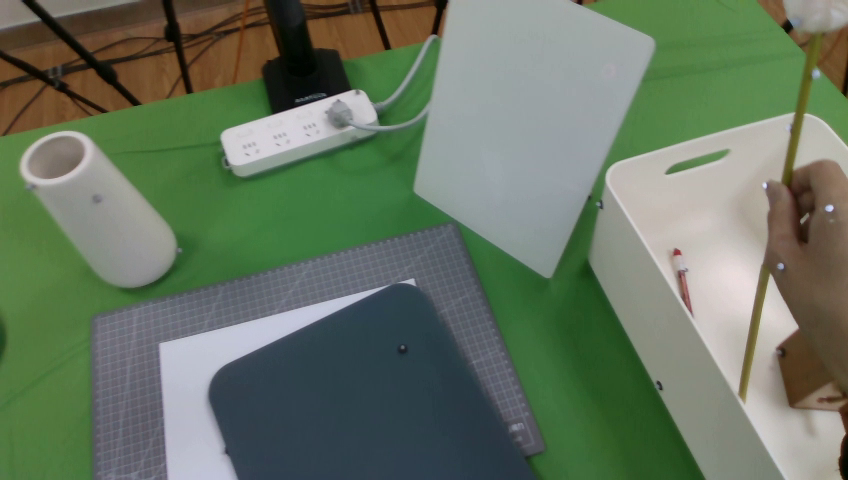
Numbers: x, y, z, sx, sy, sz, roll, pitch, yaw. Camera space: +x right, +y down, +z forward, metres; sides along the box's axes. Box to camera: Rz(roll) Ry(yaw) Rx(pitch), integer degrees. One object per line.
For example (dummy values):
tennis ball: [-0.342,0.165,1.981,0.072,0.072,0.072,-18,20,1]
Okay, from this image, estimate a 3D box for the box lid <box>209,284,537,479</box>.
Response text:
box lid: [-0.042,0.231,0.610,0.263,0.015,0.368,-25,61,-14]

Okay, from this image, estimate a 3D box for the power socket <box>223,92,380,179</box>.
power socket: [-0.168,-0.147,0.841,0.227,0.033,0.071,-20,60,-11]

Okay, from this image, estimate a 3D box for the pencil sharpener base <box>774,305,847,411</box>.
pencil sharpener base: [0.409,0.122,0.602,0.061,0.108,0.076,4,58,3]

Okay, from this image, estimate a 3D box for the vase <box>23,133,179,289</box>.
vase: [-0.352,-0.027,0.672,0.098,0.202,0.097,-2,57,3]

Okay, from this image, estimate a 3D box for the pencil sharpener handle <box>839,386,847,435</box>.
pencil sharpener handle: [0.407,0.159,0.564,0.036,0.068,0.030,-3,57,13]

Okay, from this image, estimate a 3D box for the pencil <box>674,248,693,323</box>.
pencil: [0.299,0.095,0.681,0.012,0.012,0.192,2,61,4]

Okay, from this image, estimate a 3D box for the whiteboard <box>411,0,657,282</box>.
whiteboard: [0.135,-0.144,0.705,0.215,0.307,0.144,35,46,22]

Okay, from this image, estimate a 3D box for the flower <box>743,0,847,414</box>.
flower: [0.231,-0.014,0.394,0.044,0.365,0.038,6,35,26]

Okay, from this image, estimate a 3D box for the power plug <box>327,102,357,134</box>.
power plug: [-0.110,-0.154,0.816,0.035,0.053,0.072,-11,59,-5]

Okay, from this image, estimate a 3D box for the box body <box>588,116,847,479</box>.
box body: [0.353,0.078,0.606,0.254,0.162,0.360,-16,59,-8]
